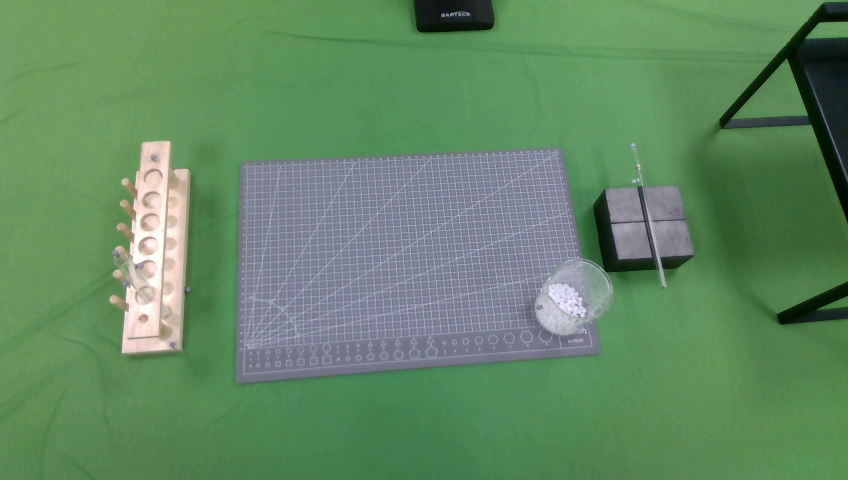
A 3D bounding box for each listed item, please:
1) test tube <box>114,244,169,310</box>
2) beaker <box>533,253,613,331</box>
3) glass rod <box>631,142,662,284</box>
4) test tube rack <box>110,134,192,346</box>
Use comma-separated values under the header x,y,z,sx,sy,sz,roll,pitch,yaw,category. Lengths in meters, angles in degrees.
x,y,z,sx,sy,sz,roll,pitch,yaw,category
-0.306,0.045,0.664,0.017,0.151,0.017,3,62,-5,test tube
0.173,0.067,0.735,0.084,0.101,0.073,-2,69,-3,beaker
0.287,-0.038,0.783,0.008,0.008,0.198,-1,70,-4,glass rod
-0.333,-0.001,0.732,0.067,0.085,0.240,-3,70,-5,test tube rack
